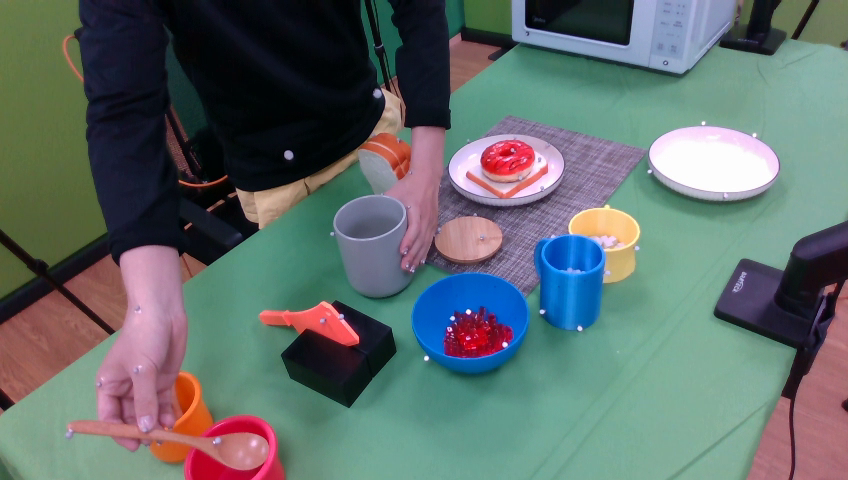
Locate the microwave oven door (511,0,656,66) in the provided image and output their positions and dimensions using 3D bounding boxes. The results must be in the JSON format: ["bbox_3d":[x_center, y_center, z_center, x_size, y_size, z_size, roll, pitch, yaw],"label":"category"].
[{"bbox_3d":[0.350,-0.539,1.348,0.353,0.245,0.039,24,50,31],"label":"microwave oven door"}]

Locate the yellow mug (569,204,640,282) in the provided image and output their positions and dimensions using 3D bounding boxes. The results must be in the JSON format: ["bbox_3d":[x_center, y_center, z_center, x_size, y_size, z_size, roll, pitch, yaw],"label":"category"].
[{"bbox_3d":[0.268,-0.005,0.904,0.099,0.064,0.130,7,41,15],"label":"yellow mug"}]

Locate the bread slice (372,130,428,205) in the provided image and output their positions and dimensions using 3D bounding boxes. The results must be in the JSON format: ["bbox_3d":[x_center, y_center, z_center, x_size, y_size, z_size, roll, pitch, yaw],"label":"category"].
[{"bbox_3d":[-0.044,-0.126,1.038,0.106,0.135,0.018,31,61,34],"label":"bread slice"}]

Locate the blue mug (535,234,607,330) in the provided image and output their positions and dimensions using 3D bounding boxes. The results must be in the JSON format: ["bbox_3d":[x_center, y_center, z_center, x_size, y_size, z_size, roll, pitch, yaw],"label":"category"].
[{"bbox_3d":[0.190,0.048,0.824,0.082,0.106,0.115,-26,44,-20],"label":"blue mug"}]

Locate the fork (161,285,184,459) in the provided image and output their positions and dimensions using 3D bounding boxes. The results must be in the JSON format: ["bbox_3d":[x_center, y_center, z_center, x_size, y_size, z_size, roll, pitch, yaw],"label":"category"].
[{"bbox_3d":[-0.303,0.157,0.733,0.028,0.019,0.207,-3,84,15],"label":"fork"}]

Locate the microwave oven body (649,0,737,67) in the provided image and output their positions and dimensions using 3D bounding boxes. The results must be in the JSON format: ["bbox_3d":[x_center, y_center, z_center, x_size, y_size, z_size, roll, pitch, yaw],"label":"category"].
[{"bbox_3d":[0.475,-0.602,1.411,0.438,0.261,0.327,23,50,32],"label":"microwave oven body"}]

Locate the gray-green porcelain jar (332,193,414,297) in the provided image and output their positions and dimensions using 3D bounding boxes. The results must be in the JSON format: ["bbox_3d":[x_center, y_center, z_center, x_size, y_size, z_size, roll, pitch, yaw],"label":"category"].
[{"bbox_3d":[-0.071,0.012,0.887,0.106,0.127,0.105,-4,41,4],"label":"gray-green porcelain jar"}]

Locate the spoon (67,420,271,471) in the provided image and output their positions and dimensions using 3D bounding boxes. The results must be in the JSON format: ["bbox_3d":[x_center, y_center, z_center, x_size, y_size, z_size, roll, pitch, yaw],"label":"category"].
[{"bbox_3d":[-0.245,0.197,0.599,0.195,0.021,0.041,25,41,-33],"label":"spoon"}]

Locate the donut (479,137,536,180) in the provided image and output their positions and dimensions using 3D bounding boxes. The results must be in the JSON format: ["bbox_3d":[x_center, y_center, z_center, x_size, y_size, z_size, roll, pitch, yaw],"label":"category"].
[{"bbox_3d":[0.145,-0.143,1.056,0.099,0.048,0.098,-6,42,6],"label":"donut"}]

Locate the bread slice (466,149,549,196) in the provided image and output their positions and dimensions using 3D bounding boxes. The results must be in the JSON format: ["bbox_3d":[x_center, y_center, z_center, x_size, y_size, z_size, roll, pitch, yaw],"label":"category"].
[{"bbox_3d":[0.156,-0.128,1.085,0.132,0.019,0.104,-34,48,-23],"label":"bread slice"}]

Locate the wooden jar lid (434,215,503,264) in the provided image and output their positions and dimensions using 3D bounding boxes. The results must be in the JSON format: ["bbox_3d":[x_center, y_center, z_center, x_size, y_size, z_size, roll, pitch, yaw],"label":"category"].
[{"bbox_3d":[0.070,0.001,0.956,0.108,0.021,0.108,-4,40,4],"label":"wooden jar lid"}]

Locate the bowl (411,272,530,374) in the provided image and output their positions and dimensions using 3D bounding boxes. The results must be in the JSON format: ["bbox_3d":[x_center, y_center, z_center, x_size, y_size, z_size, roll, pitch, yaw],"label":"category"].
[{"bbox_3d":[0.062,0.120,0.780,0.151,0.077,0.150,-4,40,4],"label":"bowl"}]

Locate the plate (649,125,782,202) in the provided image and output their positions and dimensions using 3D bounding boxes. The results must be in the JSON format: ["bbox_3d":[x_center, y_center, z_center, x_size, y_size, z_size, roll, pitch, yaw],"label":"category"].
[{"bbox_3d":[0.493,-0.127,1.036,0.207,0.039,0.206,-4,41,4],"label":"plate"}]

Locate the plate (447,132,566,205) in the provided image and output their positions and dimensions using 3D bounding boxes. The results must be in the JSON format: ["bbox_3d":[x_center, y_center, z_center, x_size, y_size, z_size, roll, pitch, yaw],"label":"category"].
[{"bbox_3d":[0.145,-0.124,1.076,0.209,0.038,0.208,-3,41,3],"label":"plate"}]

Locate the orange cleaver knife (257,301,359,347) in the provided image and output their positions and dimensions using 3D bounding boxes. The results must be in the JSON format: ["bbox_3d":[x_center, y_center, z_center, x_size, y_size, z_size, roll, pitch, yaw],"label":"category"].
[{"bbox_3d":[-0.160,0.115,0.813,0.210,0.077,0.012,-9,30,48],"label":"orange cleaver knife"}]

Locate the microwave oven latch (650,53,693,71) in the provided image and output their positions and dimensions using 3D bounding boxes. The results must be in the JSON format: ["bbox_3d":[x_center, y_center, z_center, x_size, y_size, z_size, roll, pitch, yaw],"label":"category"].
[{"bbox_3d":[0.531,-0.386,1.301,0.078,0.029,0.030,25,51,33],"label":"microwave oven latch"}]
